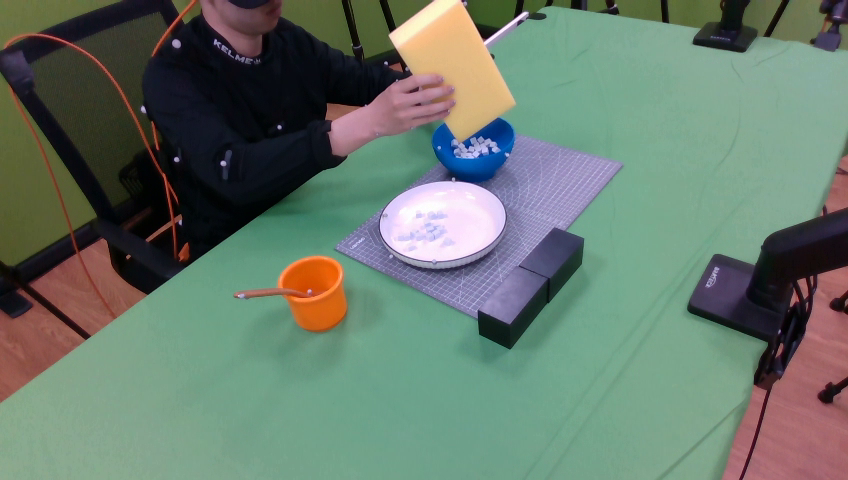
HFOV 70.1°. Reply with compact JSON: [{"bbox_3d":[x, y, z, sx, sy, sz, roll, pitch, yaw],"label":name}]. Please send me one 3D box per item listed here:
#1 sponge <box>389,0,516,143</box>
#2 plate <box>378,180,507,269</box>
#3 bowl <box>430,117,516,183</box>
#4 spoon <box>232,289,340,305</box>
[{"bbox_3d":[0.050,-0.273,0.979,0.118,0.208,0.060,-33,41,8],"label":"sponge"},{"bbox_3d":[0.031,-0.022,0.974,0.209,0.038,0.208,-4,40,4],"label":"plate"},{"bbox_3d":[0.090,-0.156,1.090,0.151,0.077,0.150,-4,41,4],"label":"bowl"},{"bbox_3d":[-0.181,0.074,0.811,0.041,0.195,0.021,15,90,31],"label":"spoon"}]
